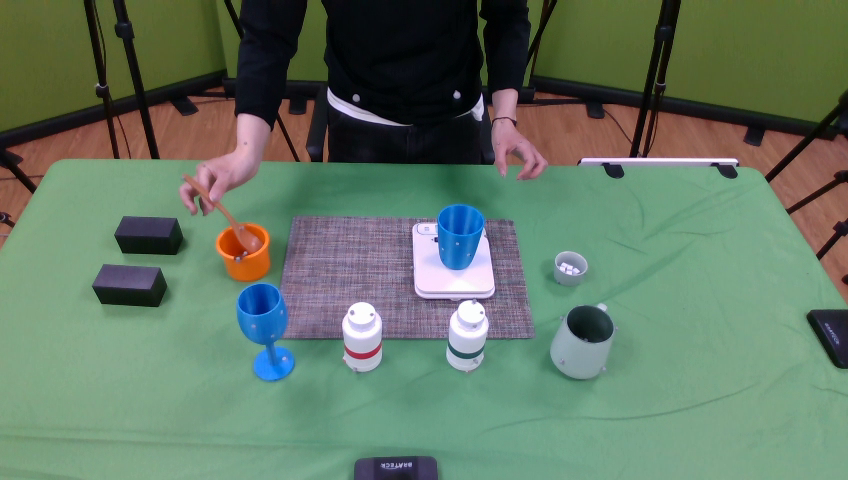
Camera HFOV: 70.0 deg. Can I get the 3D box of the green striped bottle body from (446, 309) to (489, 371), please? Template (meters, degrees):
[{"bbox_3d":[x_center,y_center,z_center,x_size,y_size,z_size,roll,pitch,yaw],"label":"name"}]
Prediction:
[{"bbox_3d":[0.070,0.155,0.984,0.063,0.120,0.063,2,46,-2],"label":"green striped bottle body"}]

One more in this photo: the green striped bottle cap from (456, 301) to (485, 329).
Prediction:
[{"bbox_3d":[0.073,0.116,0.943,0.044,0.020,0.044,3,46,-3],"label":"green striped bottle cap"}]

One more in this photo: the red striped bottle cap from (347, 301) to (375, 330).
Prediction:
[{"bbox_3d":[-0.097,0.116,0.934,0.044,0.018,0.044,2,49,-3],"label":"red striped bottle cap"}]

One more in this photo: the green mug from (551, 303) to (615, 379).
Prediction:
[{"bbox_3d":[0.271,0.157,1.007,0.092,0.105,0.125,27,50,21],"label":"green mug"}]

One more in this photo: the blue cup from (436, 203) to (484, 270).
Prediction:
[{"bbox_3d":[0.061,-0.001,1.099,0.093,0.101,0.092,2,44,-2],"label":"blue cup"}]

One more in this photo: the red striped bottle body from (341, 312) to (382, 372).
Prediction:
[{"bbox_3d":[-0.100,0.154,0.972,0.063,0.120,0.062,2,46,-1],"label":"red striped bottle body"}]

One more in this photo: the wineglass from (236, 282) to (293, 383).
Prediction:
[{"bbox_3d":[-0.243,0.143,0.934,0.074,0.173,0.073,2,46,-2],"label":"wineglass"}]

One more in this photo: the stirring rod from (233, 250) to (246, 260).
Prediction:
[{"bbox_3d":[-0.324,0.026,1.067,0.014,0.006,0.176,-8,4,-13],"label":"stirring rod"}]

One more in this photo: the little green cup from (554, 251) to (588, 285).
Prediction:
[{"bbox_3d":[0.276,0.055,1.151,0.061,0.039,0.061,1,46,-1],"label":"little green cup"}]

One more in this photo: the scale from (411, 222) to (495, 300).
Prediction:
[{"bbox_3d":[0.052,0.031,1.158,0.149,0.032,0.199,1,46,-4],"label":"scale"}]

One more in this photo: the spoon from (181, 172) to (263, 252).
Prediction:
[{"bbox_3d":[-0.348,-0.048,1.055,0.021,0.195,0.041,-20,36,20],"label":"spoon"}]
